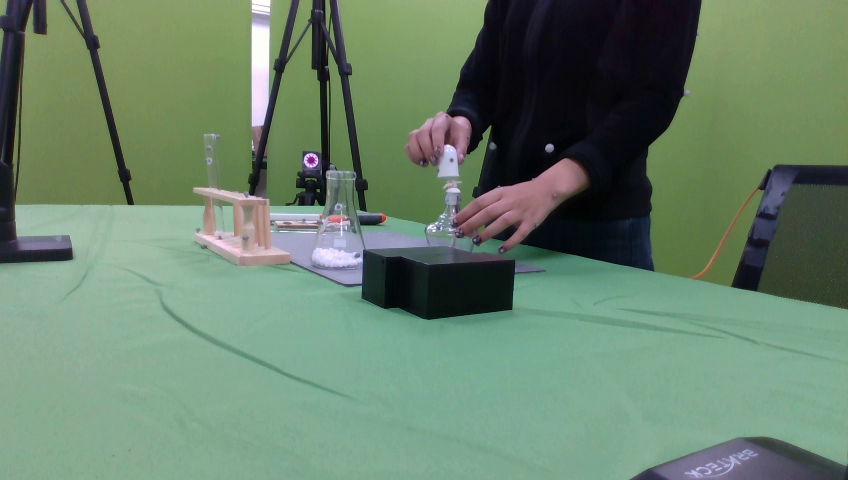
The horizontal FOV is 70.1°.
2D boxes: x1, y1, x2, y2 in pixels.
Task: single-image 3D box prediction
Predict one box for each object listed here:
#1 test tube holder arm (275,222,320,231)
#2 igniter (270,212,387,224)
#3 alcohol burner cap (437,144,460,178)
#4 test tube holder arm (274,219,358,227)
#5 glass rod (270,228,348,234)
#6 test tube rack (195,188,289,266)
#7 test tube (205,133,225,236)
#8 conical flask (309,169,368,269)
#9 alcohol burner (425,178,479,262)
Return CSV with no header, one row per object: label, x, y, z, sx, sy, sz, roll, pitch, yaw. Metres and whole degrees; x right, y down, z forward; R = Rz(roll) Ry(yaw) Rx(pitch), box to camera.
test tube holder arm,-0.238,-0.026,1.145,0.088,0.015,0.010,-3,45,-38
igniter,-0.213,-0.048,1.278,0.278,0.025,0.057,-1,-2,-25
alcohol burner cap,0.034,-0.110,0.846,0.034,0.048,0.034,-3,3,1
test tube holder arm,-0.206,-0.032,1.176,0.179,0.015,0.013,-4,46,-39
glass rod,-0.234,-0.017,1.105,0.201,0.008,0.008,2,6,-26
test tube rack,-0.266,-0.025,0.864,0.067,0.085,0.241,-2,8,-33
test tube,-0.305,-0.079,0.883,0.017,0.150,0.017,-2,10,1
conical flask,-0.106,-0.028,0.762,0.075,0.122,0.075,2,7,0
alcohol burner,0.040,-0.028,0.853,0.078,0.119,0.078,2,9,0
